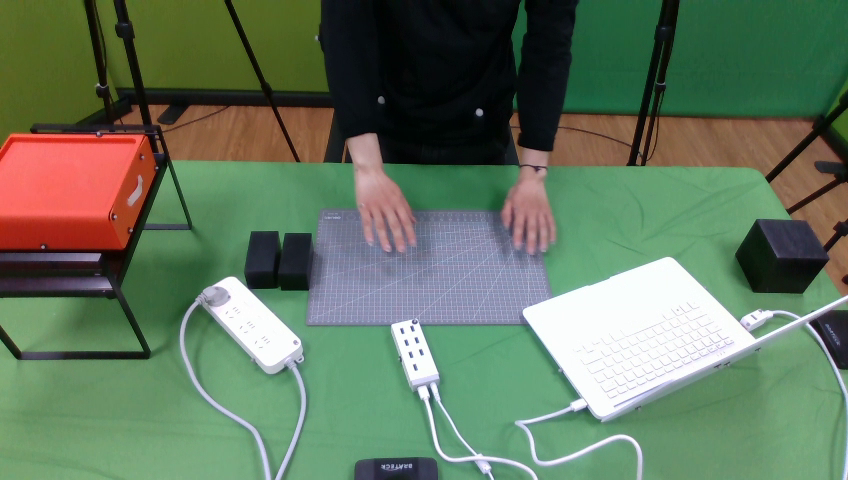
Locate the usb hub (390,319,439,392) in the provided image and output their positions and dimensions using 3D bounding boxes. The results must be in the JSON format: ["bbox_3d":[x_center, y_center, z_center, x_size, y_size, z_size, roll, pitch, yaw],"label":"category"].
[{"bbox_3d":[-0.016,0.190,1.013,0.049,0.025,0.124,-11,48,-15],"label":"usb hub"}]

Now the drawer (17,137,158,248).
[{"bbox_3d":[-0.549,-0.079,0.944,0.212,0.073,0.193,0,47,-3],"label":"drawer"}]

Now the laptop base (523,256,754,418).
[{"bbox_3d":[0.380,0.159,1.077,0.355,0.023,0.234,-17,48,-20],"label":"laptop base"}]

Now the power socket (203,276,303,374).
[{"bbox_3d":[-0.296,0.141,1.034,0.225,0.033,0.072,38,55,27],"label":"power socket"}]

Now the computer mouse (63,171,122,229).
[{"bbox_3d":[-0.522,-0.067,0.955,0.063,0.041,0.116,1,49,-10],"label":"computer mouse"}]

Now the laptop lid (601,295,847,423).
[{"bbox_3d":[0.449,0.179,0.905,0.357,0.242,0.013,-17,64,-20],"label":"laptop lid"}]

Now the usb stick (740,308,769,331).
[{"bbox_3d":[0.587,0.146,1.088,0.059,0.027,0.021,-21,48,-17],"label":"usb stick"}]

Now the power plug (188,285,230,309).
[{"bbox_3d":[-0.370,0.103,1.039,0.072,0.053,0.035,-26,54,-23],"label":"power plug"}]

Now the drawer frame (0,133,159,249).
[{"bbox_3d":[-0.553,-0.078,0.942,0.214,0.083,0.200,-1,47,-4],"label":"drawer frame"}]
